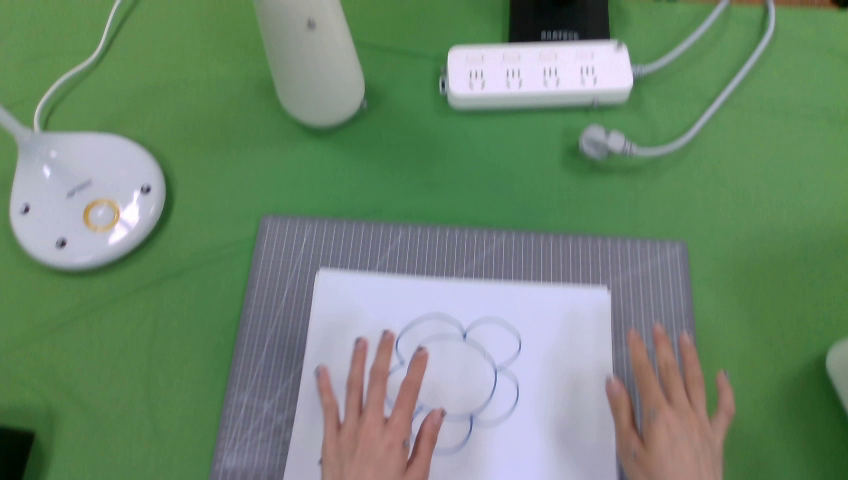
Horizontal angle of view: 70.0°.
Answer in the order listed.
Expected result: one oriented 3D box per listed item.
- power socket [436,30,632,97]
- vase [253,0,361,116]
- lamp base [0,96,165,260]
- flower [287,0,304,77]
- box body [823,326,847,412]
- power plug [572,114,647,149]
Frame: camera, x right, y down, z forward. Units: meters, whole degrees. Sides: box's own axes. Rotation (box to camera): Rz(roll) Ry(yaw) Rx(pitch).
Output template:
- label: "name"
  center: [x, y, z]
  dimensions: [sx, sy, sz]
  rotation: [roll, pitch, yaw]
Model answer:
- label: "power socket"
  center: [0.127, -0.204, 0.701]
  dimensions: [0.227, 0.033, 0.071]
  rotation: [-1, 69, -1]
- label: "vase"
  center: [-0.122, -0.214, 0.617]
  dimensions: [0.098, 0.201, 0.097]
  rotation: [-1, 68, 2]
- label: "lamp base"
  center: [-0.370, -0.089, 0.579]
  dimensions: [0.178, 0.181, 0.160]
  rotation: [35, 72, 17]
- label: "flower"
  center: [-0.104, -0.236, 0.538]
  dimensions: [0.044, 0.362, 0.038]
  rotation: [-38, 89, -22]
- label: "box body"
  center: [0.530, 0.196, 0.470]
  dimensions: [0.254, 0.161, 0.361]
  rotation: [-14, 69, -5]
- label: "power plug"
  center: [0.197, -0.108, 0.662]
  dimensions: [0.073, 0.052, 0.035]
  rotation: [38, 78, -13]
